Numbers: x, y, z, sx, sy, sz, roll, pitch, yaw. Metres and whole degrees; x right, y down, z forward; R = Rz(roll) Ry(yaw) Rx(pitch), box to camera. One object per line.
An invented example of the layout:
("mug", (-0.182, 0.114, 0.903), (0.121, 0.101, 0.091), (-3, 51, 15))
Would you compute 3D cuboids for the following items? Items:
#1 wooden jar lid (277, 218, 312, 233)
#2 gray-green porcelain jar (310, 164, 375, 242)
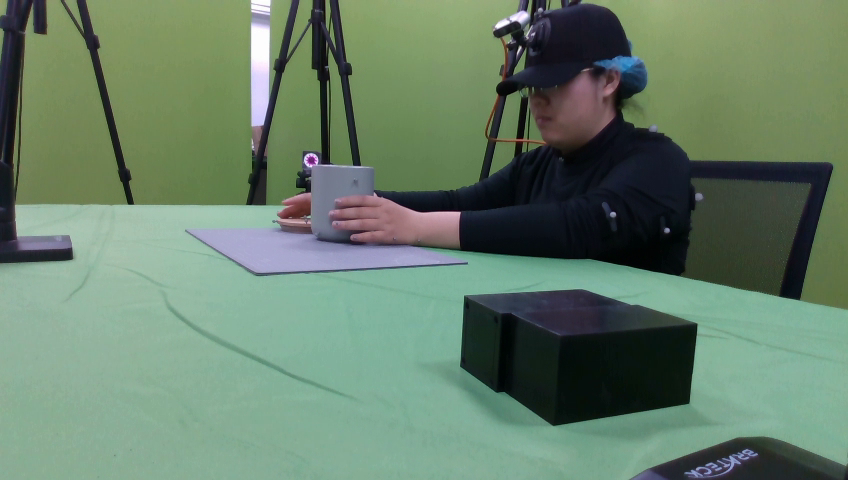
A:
("wooden jar lid", (-0.221, -0.028, 1.138), (0.108, 0.020, 0.108), (2, 8, 0))
("gray-green porcelain jar", (-0.139, -0.063, 1.025), (0.106, 0.126, 0.106), (3, 8, 0))
